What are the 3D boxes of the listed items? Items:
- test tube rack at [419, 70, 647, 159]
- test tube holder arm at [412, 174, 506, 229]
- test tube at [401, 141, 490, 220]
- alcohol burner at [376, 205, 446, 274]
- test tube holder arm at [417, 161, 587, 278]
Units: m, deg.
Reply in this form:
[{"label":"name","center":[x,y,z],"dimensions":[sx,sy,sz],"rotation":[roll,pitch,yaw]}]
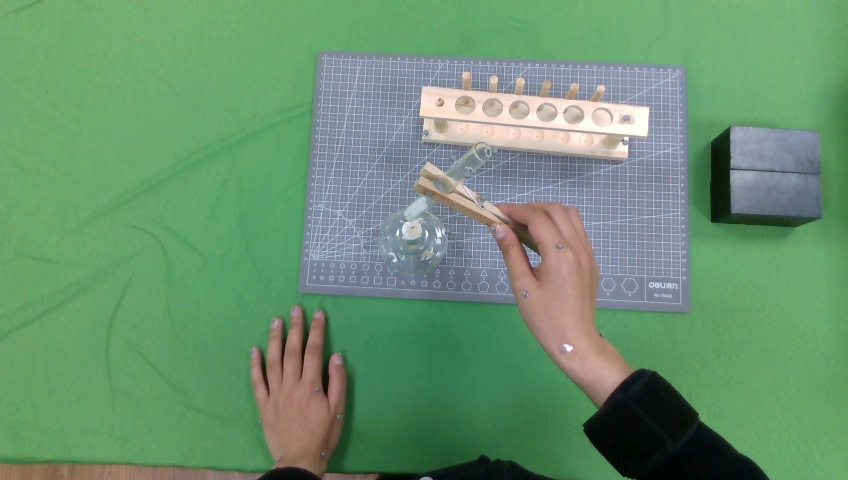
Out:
[{"label":"test tube rack","center":[0.119,-0.147,0.688],"dimensions":[0.242,0.085,0.066],"rotation":[6,81,2]},{"label":"test tube holder arm","center":[0.031,-0.032,0.516],"dimensions":[0.088,0.015,0.010],"rotation":[25,68,-17]},{"label":"test tube","center":[0.013,-0.046,0.510],"dimensions":[0.017,0.150,0.017],"rotation":[8,70,-23]},{"label":"alcohol burner","center":[-0.014,-0.004,0.652],"dimensions":[0.078,0.119,0.077],"rotation":[0,79,-1]},{"label":"test tube holder arm","center":[0.071,-0.015,0.529],"dimensions":[0.179,0.015,0.013],"rotation":[31,67,-14]}]
